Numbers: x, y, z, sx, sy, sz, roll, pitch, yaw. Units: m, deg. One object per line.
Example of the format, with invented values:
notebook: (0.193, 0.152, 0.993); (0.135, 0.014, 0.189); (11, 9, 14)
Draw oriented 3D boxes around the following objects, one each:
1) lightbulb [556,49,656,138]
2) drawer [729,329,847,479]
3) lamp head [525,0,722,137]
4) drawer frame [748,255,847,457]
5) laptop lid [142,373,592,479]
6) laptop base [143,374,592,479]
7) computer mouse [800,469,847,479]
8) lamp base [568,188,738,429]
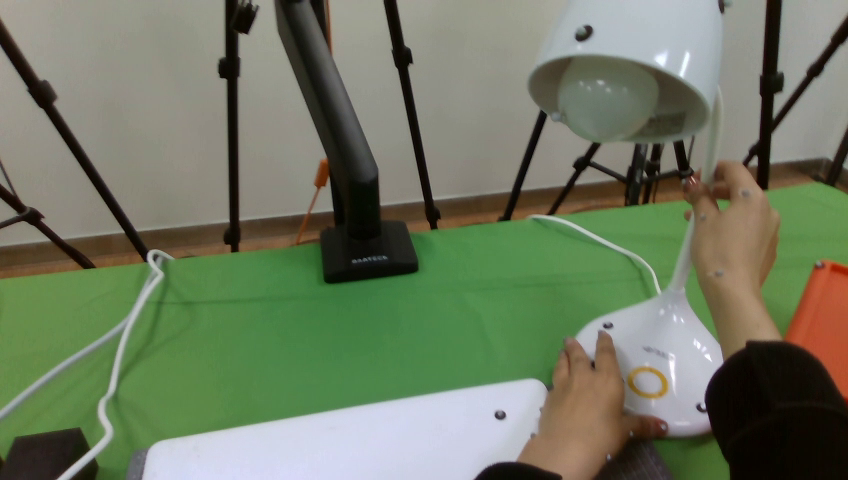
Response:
lightbulb: (0.121, -0.116, 0.380); (0.059, 0.060, 0.107); (18, 80, 26)
drawer: (0.365, 0.172, 0.475); (0.193, 0.074, 0.211); (20, 38, 30)
lamp head: (0.135, -0.137, 0.379); (0.111, 0.113, 0.122); (17, 77, 25)
drawer frame: (0.431, 0.120, 0.548); (0.200, 0.083, 0.213); (21, 38, 31)
laptop lid: (-0.038, 0.211, 0.454); (0.357, 0.013, 0.239); (-6, 36, -8)
laptop base: (-0.038, 0.219, 0.461); (0.355, 0.023, 0.233); (-7, 38, -9)
computer mouse: (0.334, 0.212, 0.437); (0.116, 0.041, 0.062); (21, 37, 22)
lamp base: (0.228, 0.051, 0.566); (0.160, 0.181, 0.178); (13, 32, 18)
